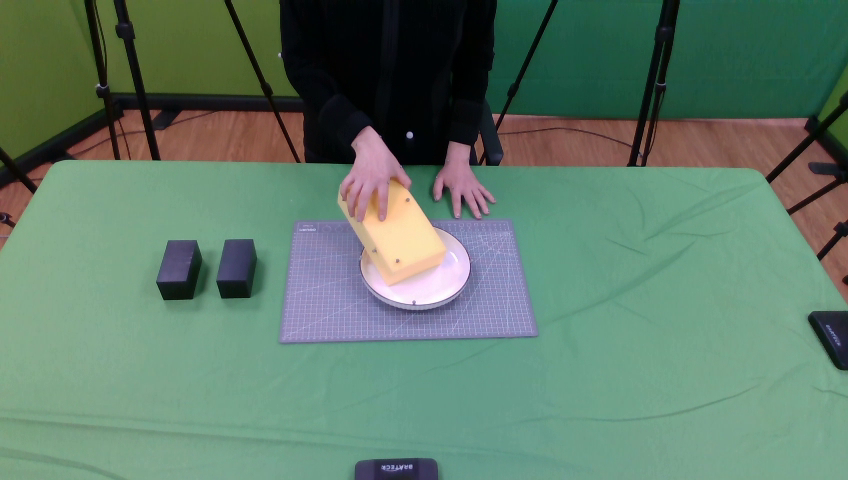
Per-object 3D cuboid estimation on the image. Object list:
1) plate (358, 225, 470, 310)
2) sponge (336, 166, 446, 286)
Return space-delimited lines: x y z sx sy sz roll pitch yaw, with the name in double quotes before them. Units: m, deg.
"plate" -0.019 0.052 1.132 0.209 0.038 0.208 2 46 -2
"sponge" -0.066 -0.029 1.143 0.118 0.061 0.206 -24 68 -25
